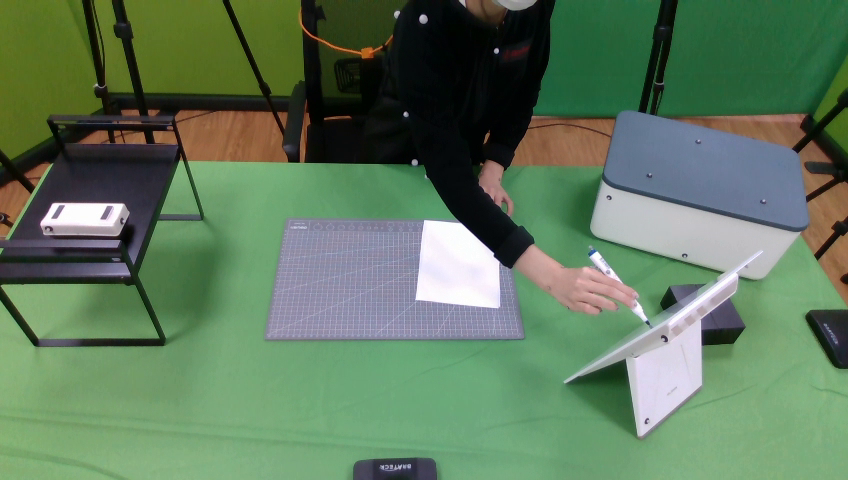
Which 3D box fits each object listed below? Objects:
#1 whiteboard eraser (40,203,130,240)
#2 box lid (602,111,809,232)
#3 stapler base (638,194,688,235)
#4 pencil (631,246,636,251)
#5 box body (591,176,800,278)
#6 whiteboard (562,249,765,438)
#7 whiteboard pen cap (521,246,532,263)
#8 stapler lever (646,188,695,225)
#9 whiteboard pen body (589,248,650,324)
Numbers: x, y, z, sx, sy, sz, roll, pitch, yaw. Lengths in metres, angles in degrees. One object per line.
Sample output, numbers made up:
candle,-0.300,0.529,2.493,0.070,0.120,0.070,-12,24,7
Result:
whiteboard eraser,-0.513,-0.028,0.922,0.113,0.042,0.055,1,48,-3
box lid,0.545,-0.143,1.176,0.371,0.015,0.262,15,47,11
stapler base,0.509,-0.059,1.278,0.041,0.024,0.129,-1,40,-30
pencil,0.431,-0.060,1.284,0.012,0.012,0.193,3,57,-1
box body,0.540,-0.092,1.229,0.363,0.161,0.253,16,47,11
whiteboard,0.386,0.175,0.905,0.217,0.306,0.143,-26,72,-26
whiteboard pen cap,0.200,0.029,1.187,0.018,0.018,0.033,15,48,10
stapler lever,0.515,-0.078,1.265,0.027,0.040,0.117,-1,41,-30
whiteboard pen body,0.301,0.071,0.930,0.017,0.017,0.140,-30,78,-29
